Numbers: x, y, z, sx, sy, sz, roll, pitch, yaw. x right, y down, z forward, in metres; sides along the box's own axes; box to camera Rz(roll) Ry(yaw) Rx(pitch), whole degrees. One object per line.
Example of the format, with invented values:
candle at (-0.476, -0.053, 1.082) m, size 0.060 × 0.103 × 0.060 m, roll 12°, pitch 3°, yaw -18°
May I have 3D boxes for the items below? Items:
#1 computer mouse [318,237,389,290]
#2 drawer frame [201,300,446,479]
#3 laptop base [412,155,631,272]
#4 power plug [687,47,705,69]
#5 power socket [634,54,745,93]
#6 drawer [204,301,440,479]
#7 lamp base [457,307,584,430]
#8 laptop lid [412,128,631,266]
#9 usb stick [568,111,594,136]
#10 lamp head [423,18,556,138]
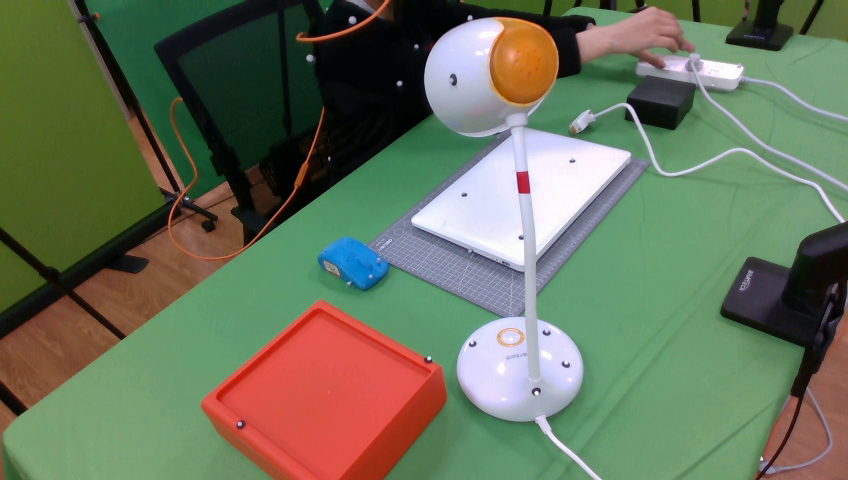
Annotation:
computer mouse at (-0.113, 0.033, 0.959) m, size 0.116 × 0.041 × 0.063 m, roll 28°, pitch 51°, yaw 31°
drawer frame at (-0.117, 0.193, 0.733) m, size 0.212 × 0.083 × 0.202 m, roll 23°, pitch 48°, yaw 32°
laptop base at (0.176, -0.084, 1.055) m, size 0.233 × 0.023 × 0.355 m, roll 21°, pitch 48°, yaw 36°
power plug at (0.565, -0.384, 1.246) m, size 0.035 × 0.073 × 0.052 m, roll 22°, pitch 74°, yaw 13°
power socket at (0.564, -0.359, 1.295) m, size 0.225 × 0.033 × 0.072 m, roll 21°, pitch 49°, yaw 31°
drawer at (-0.119, 0.193, 0.735) m, size 0.210 × 0.073 × 0.195 m, roll 23°, pitch 49°, yaw 32°
lamp base at (0.115, 0.108, 0.713) m, size 0.161 × 0.181 × 0.178 m, roll -16°, pitch 43°, yaw -8°
laptop lid at (0.173, -0.093, 1.049) m, size 0.239 × 0.013 × 0.358 m, roll 23°, pitch 50°, yaw 36°
usb stick at (0.307, -0.228, 1.190) m, size 0.059 × 0.021 × 0.027 m, roll -44°, pitch 12°, yaw -22°
lamp head at (0.069, -0.151, 0.563) m, size 0.113 × 0.113 × 0.122 m, roll -21°, pitch 18°, yaw -13°
